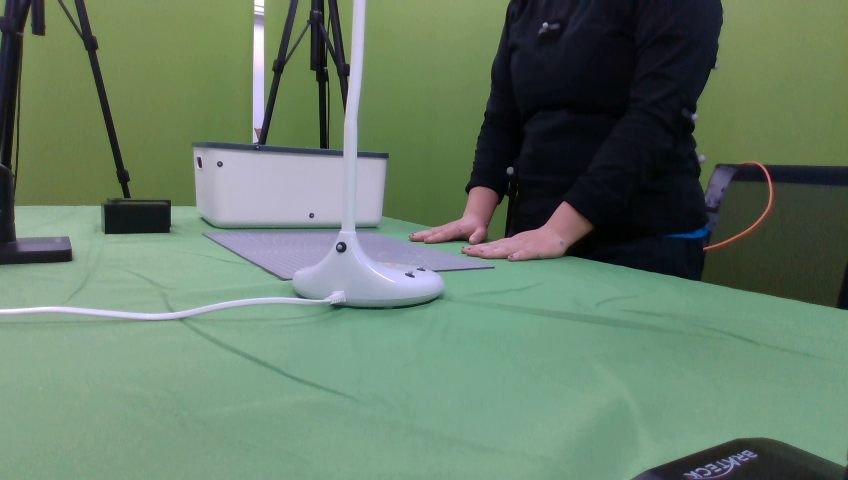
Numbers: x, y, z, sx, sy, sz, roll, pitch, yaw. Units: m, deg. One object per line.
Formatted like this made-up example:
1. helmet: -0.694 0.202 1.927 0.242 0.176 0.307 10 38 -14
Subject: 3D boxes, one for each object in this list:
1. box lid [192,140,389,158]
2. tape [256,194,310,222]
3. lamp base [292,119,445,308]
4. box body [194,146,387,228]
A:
1. box lid: -0.287 -0.190 1.281 0.373 0.015 0.262 0 8 -28
2. tape: -0.301 -0.069 1.294 0.117 0.052 0.117 2 7 0
3. lamp base: -0.056 -0.030 0.616 0.160 0.180 0.179 3 10 8
4. box body: -0.288 -0.118 1.291 0.366 0.160 0.253 -1 8 -28
